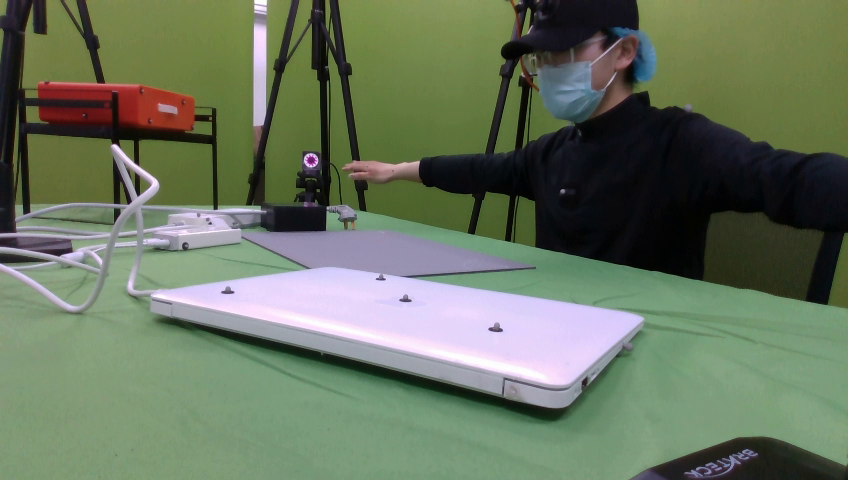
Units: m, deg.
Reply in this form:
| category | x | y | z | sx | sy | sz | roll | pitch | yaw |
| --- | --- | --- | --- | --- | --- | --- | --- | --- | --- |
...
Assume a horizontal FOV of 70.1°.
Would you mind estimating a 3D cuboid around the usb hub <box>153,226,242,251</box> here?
| category | x | y | z | sx | sy | sz | roll | pitch | yaw |
| --- | --- | --- | --- | --- | --- | --- | --- | --- | --- |
| usb hub | -0.337 | -0.003 | 0.907 | 0.049 | 0.025 | 0.125 | 6 | 9 | 28 |

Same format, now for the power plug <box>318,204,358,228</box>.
| category | x | y | z | sx | sy | sz | roll | pitch | yaw |
| --- | --- | --- | --- | --- | --- | --- | --- | --- | --- |
| power plug | -0.169 | -0.045 | 1.208 | 0.072 | 0.052 | 0.035 | -11 | -12 | -2 |

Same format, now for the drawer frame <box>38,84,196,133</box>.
| category | x | y | z | sx | sy | sz | roll | pitch | yaw |
| --- | --- | --- | --- | --- | --- | --- | --- | --- | --- |
| drawer frame | -0.612 | -0.265 | 1.229 | 0.213 | 0.082 | 0.202 | 3 | 8 | 7 |

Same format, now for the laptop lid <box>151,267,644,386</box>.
| category | x | y | z | sx | sy | sz | roll | pitch | yaw |
| --- | --- | --- | --- | --- | --- | --- | --- | --- | --- |
| laptop lid | -0.018 | 0.054 | 0.507 | 0.355 | 0.013 | 0.243 | 7 | 6 | 31 |

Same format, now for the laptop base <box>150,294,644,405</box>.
| category | x | y | z | sx | sy | sz | roll | pitch | yaw |
| --- | --- | --- | --- | --- | --- | --- | --- | --- | --- |
| laptop base | -0.019 | 0.066 | 0.506 | 0.353 | 0.023 | 0.236 | 6 | 5 | 30 |

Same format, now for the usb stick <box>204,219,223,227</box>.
| category | x | y | z | sx | sy | sz | roll | pitch | yaw |
| --- | --- | --- | --- | --- | --- | --- | --- | --- | --- |
| usb stick | -0.346 | -0.018 | 1.011 | 0.021 | 0.027 | 0.059 | -43 | -1 | -8 |

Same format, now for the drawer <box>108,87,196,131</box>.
| category | x | y | z | sx | sy | sz | roll | pitch | yaw |
| --- | --- | --- | --- | --- | --- | --- | --- | --- | --- |
| drawer | -0.609 | -0.264 | 1.229 | 0.211 | 0.073 | 0.194 | 3 | 8 | 9 |

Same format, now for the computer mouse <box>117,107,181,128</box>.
| category | x | y | z | sx | sy | sz | roll | pitch | yaw |
| --- | --- | --- | --- | --- | --- | --- | --- | --- | --- |
| computer mouse | -0.565 | -0.252 | 1.242 | 0.062 | 0.041 | 0.118 | 17 | 26 | 42 |

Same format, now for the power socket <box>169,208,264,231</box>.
| category | x | y | z | sx | sy | sz | roll | pitch | yaw |
| --- | --- | --- | --- | --- | --- | --- | --- | --- | --- |
| power socket | -0.381 | -0.038 | 1.128 | 0.072 | 0.032 | 0.227 | 4 | 8 | 16 |
